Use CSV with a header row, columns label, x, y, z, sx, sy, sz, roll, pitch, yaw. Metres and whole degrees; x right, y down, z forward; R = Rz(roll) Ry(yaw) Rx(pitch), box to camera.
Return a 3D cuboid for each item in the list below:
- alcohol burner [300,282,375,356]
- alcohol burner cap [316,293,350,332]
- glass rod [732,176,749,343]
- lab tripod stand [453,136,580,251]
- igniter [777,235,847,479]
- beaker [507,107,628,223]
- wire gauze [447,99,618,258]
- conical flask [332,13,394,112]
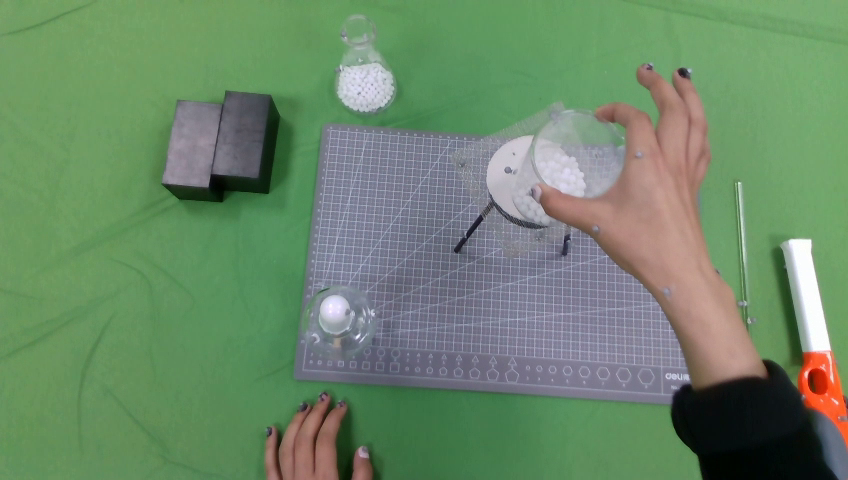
label,x,y,z,sx,sy,sz,roll,pitch,yaw
alcohol burner,-0.088,0.077,0.611,0.078,0.119,0.077,1,74,-3
alcohol burner cap,-0.086,0.066,0.577,0.034,0.048,0.033,3,69,-8
glass rod,0.367,0.020,0.701,0.008,0.008,0.198,4,76,-2
lab tripod stand,0.100,-0.039,0.637,0.148,0.132,0.147,0,78,-2
igniter,0.431,0.130,0.667,0.057,0.025,0.275,0,76,-13
beaker,0.114,-0.057,0.506,0.084,0.100,0.073,-15,81,-7
wire gauze,0.103,-0.059,0.573,0.125,0.011,0.121,-25,80,-7
conical flask,-0.072,-0.202,0.679,0.075,0.122,0.075,1,75,-2
